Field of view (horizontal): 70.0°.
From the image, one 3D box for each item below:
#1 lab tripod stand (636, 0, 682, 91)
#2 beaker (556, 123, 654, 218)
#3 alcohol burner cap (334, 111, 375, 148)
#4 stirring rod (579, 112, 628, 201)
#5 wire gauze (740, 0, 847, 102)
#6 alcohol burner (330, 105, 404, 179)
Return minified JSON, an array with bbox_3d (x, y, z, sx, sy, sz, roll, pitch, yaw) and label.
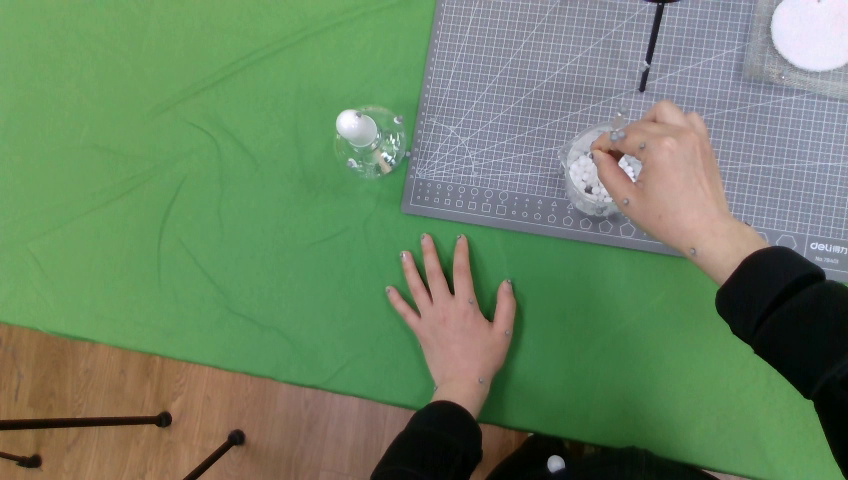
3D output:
[{"bbox_3d":[0.209,-0.229,0.559,0.148,0.132,0.148,-1,87,9],"label":"lab tripod stand"},{"bbox_3d":[0.165,-0.062,0.572,0.083,0.100,0.074,16,88,12],"label":"beaker"},{"bbox_3d":[-0.069,-0.107,0.577,0.034,0.048,0.034,0,89,10],"label":"alcohol burner cap"},{"bbox_3d":[0.148,-0.064,0.507,0.014,0.177,0.006,-14,73,3],"label":"stirring rod"},{"bbox_3d":[0.381,-0.202,0.590,0.125,0.011,0.121,14,88,8],"label":"wire gauze"},{"bbox_3d":[-0.062,-0.103,0.612,0.078,0.119,0.077,-1,83,9],"label":"alcohol burner"}]
